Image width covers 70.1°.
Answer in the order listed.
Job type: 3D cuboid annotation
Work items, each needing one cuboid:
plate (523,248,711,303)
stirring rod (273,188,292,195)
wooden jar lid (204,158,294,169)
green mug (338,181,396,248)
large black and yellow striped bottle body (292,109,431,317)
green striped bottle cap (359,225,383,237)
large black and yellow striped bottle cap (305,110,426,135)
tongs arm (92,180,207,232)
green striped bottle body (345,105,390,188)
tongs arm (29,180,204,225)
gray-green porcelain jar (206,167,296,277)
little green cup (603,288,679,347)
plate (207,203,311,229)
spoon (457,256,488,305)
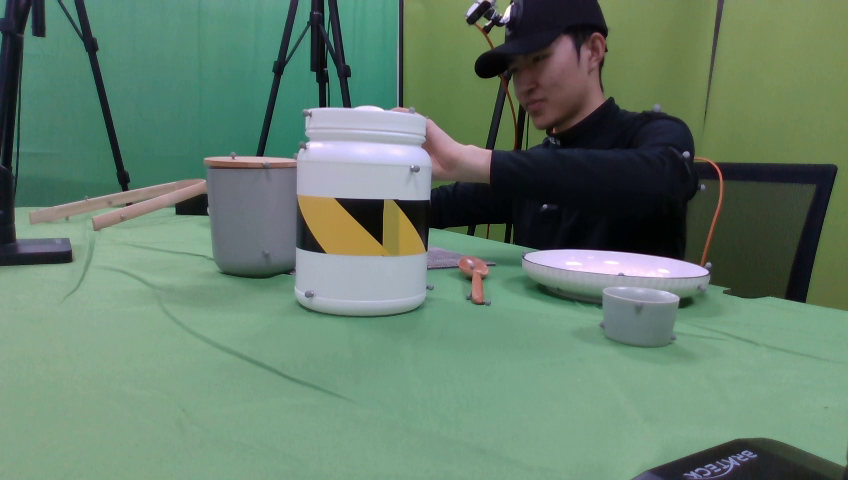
[{"bbox_3d":[0.219,0.041,0.706,0.209,0.038,0.209,2,7,0],"label":"plate"},{"bbox_3d":[-0.354,-0.122,1.519,0.006,0.014,0.176,2,6,1],"label":"stirring rod"},{"bbox_3d":[-0.202,-0.086,0.714,0.108,0.020,0.108,3,11,0],"label":"wooden jar lid"},{"bbox_3d":[-0.097,-0.044,0.995,0.093,0.105,0.125,-1,8,-22],"label":"green mug"},{"bbox_3d":[-0.060,-0.028,0.585,0.131,0.184,0.130,3,7,0],"label":"large black and yellow striped bottle body"},{"bbox_3d":[-0.101,-0.016,1.138,0.044,0.020,0.044,-3,8,1],"label":"green striped bottle cap"},{"bbox_3d":[-0.055,-0.110,0.574,0.115,0.019,0.115,1,7,0],"label":"large black and yellow striped bottle cap"},{"bbox_3d":[-0.534,-0.076,1.221,0.028,0.028,0.388,-2,15,12],"label":"tongs arm"},{"bbox_3d":[-0.084,-0.138,0.920,0.063,0.119,0.063,1,41,0],"label":"green striped bottle body"},{"bbox_3d":[-0.609,-0.083,1.245,0.050,0.026,0.386,5,16,23],"label":"tongs arm"},{"bbox_3d":[-0.201,-0.024,0.724,0.106,0.126,0.106,-1,9,1],"label":"gray-green porcelain jar"},{"bbox_3d":[0.180,0.064,0.505,0.061,0.038,0.061,2,7,0],"label":"little green cup"},{"bbox_3d":[-0.342,-0.050,1.259,0.208,0.039,0.207,2,7,0],"label":"plate"},{"bbox_3d":[0.058,0.044,0.696,0.041,0.021,0.193,22,7,0],"label":"spoon"}]
